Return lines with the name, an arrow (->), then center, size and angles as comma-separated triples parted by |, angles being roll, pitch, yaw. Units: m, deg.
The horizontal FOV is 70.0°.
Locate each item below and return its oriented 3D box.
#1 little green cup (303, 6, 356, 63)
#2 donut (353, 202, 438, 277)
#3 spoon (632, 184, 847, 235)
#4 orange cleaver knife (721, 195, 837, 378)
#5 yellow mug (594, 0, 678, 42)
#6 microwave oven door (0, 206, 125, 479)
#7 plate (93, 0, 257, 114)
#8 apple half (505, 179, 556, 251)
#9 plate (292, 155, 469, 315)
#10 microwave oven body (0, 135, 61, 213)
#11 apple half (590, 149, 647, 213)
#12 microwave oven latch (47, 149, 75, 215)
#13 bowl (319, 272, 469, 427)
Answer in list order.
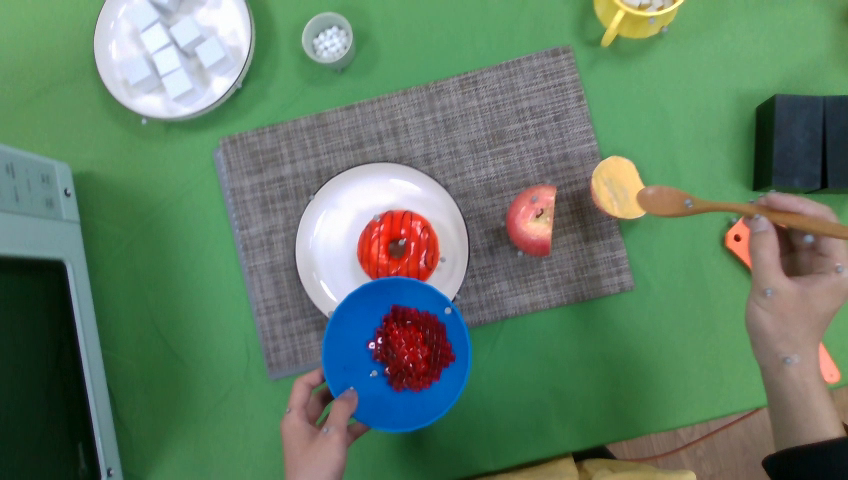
little green cup -> -0.113, -0.247, 0.738 | 0.061, 0.039, 0.061 | 0, 87, 6
donut -> -0.033, 0.005, 0.703 | 0.099, 0.048, 0.099 | 0, 89, 6
spoon -> 0.249, -0.027, 0.498 | 0.041, 0.192, 0.022 | -28, 110, -19
orange cleaver knife -> 0.413, 0.050, 0.679 | 0.077, 0.012, 0.210 | -29, 83, -1
yellow mug -> 0.240, -0.284, 0.690 | 0.100, 0.064, 0.131 | 33, 92, 6
microwave oven door -> -0.424, 0.138, 0.631 | 0.039, 0.244, 0.355 | -12, 86, 5
plate -> -0.306, -0.257, 0.758 | 0.207, 0.039, 0.207 | 0, 87, 6
apple half -> 0.118, -0.029, 0.683 | 0.053, 0.075, 0.081 | 5, 91, 10
plate -> -0.050, 0.005, 0.716 | 0.209, 0.038, 0.209 | 0, 87, 6
microwave oven body -> -0.574, 0.128, 0.651 | 0.326, 0.260, 0.441 | -12, 87, 5
apple half -> 0.215, -0.061, 0.692 | 0.082, 0.033, 0.080 | 9, 67, -21
microwave oven latch -> -0.455, -0.070, 0.746 | 0.030, 0.029, 0.079 | -11, 87, 5
bowl -> -0.024, 0.109, 0.625 | 0.151, 0.077, 0.151 | -1, 85, 9
